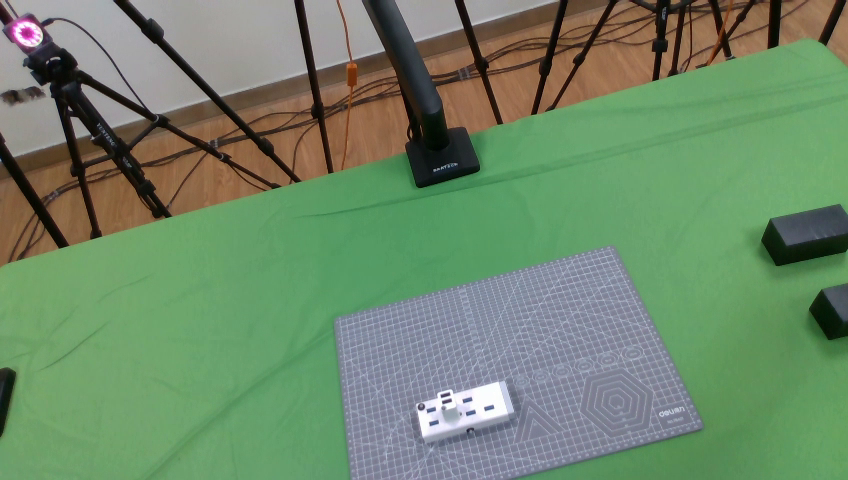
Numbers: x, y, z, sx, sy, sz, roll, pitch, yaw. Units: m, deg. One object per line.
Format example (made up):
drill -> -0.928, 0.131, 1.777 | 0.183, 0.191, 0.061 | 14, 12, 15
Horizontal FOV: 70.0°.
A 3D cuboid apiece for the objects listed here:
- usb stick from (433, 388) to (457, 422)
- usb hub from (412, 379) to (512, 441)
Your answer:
usb stick -> 0.029, 0.216, 0.781 | 0.021, 0.060, 0.027 | -18, 50, -1
usb hub -> 0.050, 0.225, 0.806 | 0.125, 0.025, 0.049 | -15, 52, 0
